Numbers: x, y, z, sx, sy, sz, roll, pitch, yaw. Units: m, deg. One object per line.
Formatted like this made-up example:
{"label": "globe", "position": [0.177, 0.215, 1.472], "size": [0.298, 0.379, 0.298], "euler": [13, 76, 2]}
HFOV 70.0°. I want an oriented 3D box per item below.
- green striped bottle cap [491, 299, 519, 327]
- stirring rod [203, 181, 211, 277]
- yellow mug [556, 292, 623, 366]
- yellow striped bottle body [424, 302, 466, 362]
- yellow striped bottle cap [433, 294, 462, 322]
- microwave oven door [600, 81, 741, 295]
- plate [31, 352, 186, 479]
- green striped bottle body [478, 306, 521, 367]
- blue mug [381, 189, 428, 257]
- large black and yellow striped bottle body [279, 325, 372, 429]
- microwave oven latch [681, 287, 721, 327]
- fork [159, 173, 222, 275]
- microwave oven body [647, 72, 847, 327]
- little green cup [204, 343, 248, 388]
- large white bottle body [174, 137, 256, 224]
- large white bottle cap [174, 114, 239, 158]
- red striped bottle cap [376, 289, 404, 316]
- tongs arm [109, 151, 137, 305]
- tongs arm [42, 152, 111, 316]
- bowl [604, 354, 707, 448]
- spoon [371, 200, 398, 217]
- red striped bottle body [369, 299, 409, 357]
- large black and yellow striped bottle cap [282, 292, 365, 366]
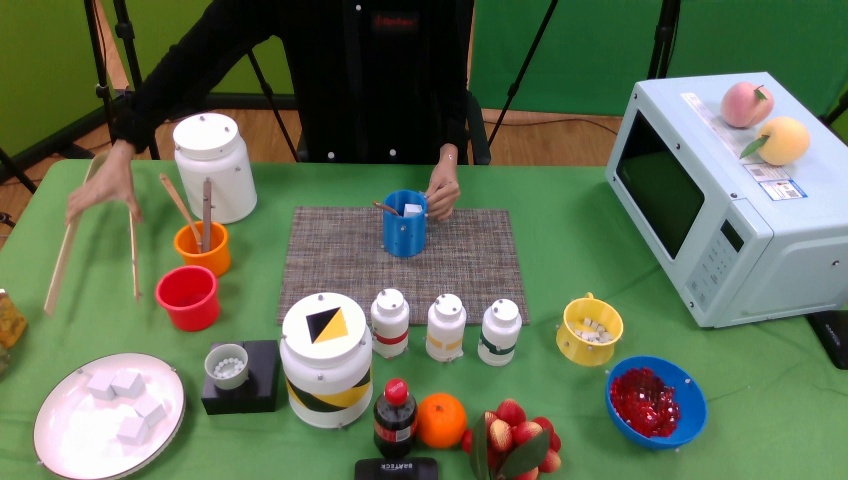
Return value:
{"label": "green striped bottle cap", "position": [0.128, 0.115, 0.958], "size": [0.044, 0.020, 0.044], "euler": [0, 45, 0]}
{"label": "stirring rod", "position": [-0.396, -0.021, 1.107], "size": [0.014, 0.006, 0.176], "euler": [-1, 89, 0]}
{"label": "yellow mug", "position": [0.285, 0.145, 1.051], "size": [0.100, 0.064, 0.130], "euler": [7, 45, 3]}
{"label": "yellow striped bottle body", "position": [0.035, 0.143, 0.995], "size": [0.063, 0.121, 0.062], "euler": [3, 46, -3]}
{"label": "yellow striped bottle cap", "position": [0.037, 0.107, 0.958], "size": [0.044, 0.019, 0.044], "euler": [2, 45, -2]}
{"label": "microwave oven door", "position": [0.454, -0.107, 1.161], "size": [0.039, 0.245, 0.353], "euler": [-6, 47, -11]}
{"label": "plate", "position": [-0.459, 0.262, 0.897], "size": [0.209, 0.038, 0.208], "euler": [2, 46, -2]}
{"label": "green striped bottle body", "position": [0.124, 0.151, 0.995], "size": [0.063, 0.120, 0.063], "euler": [1, 46, -1]}
{"label": "blue mug", "position": [-0.030, -0.040, 1.172], "size": [0.082, 0.106, 0.116], "euler": [30, 51, 23]}
{"label": "large black and yellow striped bottle body", "position": [-0.143, 0.181, 0.900], "size": [0.131, 0.185, 0.130], "euler": [2, 46, -2]}
{"label": "microwave oven latch", "position": [0.494, 0.119, 1.087], "size": [0.030, 0.029, 0.078], "euler": [-6, 46, -9]}
{"label": "fork", "position": [-0.426, -0.029, 1.103], "size": [0.028, 0.018, 0.207], "euler": [-31, 99, -29]}
{"label": "microwave oven body", "position": [0.607, -0.089, 1.164], "size": [0.326, 0.261, 0.438], "euler": [-7, 46, -10]}
{"label": "little green cup", "position": [-0.294, 0.190, 0.909], "size": [0.061, 0.039, 0.061], "euler": [1, 48, 0]}
{"label": "large white bottle body", "position": [-0.408, -0.136, 1.184], "size": [0.131, 0.185, 0.130], "euler": [2, 47, -2]}
{"label": "large white bottle cap", "position": [-0.403, -0.195, 1.122], "size": [0.115, 0.018, 0.114], "euler": [2, 47, -2]}
{"label": "red striped bottle cap", "position": [-0.055, 0.098, 0.959], "size": [0.044, 0.018, 0.044], "euler": [0, 48, 0]}
{"label": "tongs arm", "position": [-0.561, -0.035, 1.124], "size": [0.051, 0.026, 0.382], "euler": [-10, 51, -15]}
{"label": "tongs arm", "position": [-0.632, -0.027, 1.106], "size": [0.028, 0.028, 0.385], "euler": [-4, 49, -5]}
{"label": "bowl", "position": [0.346, 0.261, 0.937], "size": [0.151, 0.077, 0.150], "euler": [2, 46, -2]}
{"label": "spoon", "position": [-0.059, -0.047, 1.116], "size": [0.041, 0.194, 0.021], "euler": [36, 87, 21]}
{"label": "red striped bottle body", "position": [-0.058, 0.135, 0.997], "size": [0.063, 0.120, 0.062], "euler": [4, 47, -4]}
{"label": "large black and yellow striped bottle cap", "position": [-0.139, 0.121, 0.841], "size": [0.115, 0.019, 0.114], "euler": [3, 47, -3]}
